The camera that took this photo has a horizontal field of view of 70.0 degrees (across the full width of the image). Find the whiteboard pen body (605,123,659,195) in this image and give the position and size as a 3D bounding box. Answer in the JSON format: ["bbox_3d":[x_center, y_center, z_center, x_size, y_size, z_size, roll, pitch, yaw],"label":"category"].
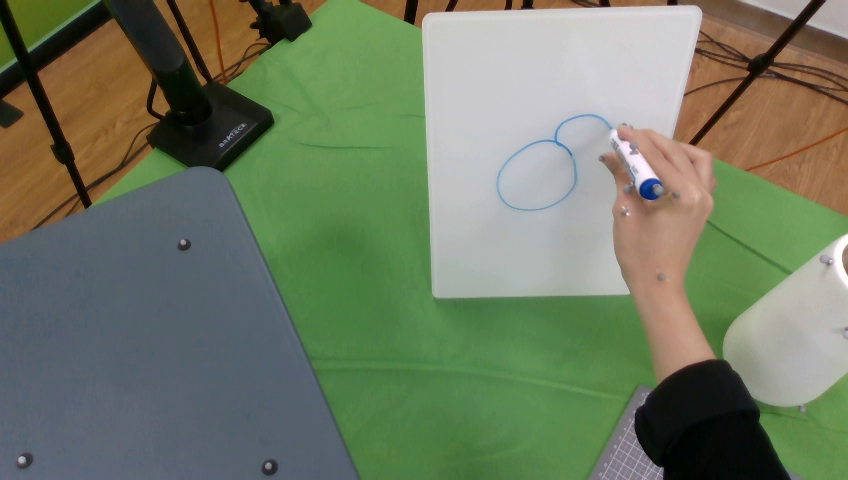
[{"bbox_3d":[0.155,-0.068,0.465,0.017,0.017,0.139,2,28,3],"label":"whiteboard pen body"}]

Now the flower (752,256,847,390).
[{"bbox_3d":[0.333,0.009,0.463,0.044,0.365,0.038,23,45,18],"label":"flower"}]

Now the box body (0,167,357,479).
[{"bbox_3d":[-0.219,0.150,0.512,0.254,0.162,0.360,-25,62,-13],"label":"box body"}]

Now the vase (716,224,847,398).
[{"bbox_3d":[0.333,0.065,0.527,0.098,0.202,0.097,-1,58,2],"label":"vase"}]

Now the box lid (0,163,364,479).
[{"bbox_3d":[-0.223,0.110,0.449,0.263,0.015,0.368,-25,62,-13],"label":"box lid"}]

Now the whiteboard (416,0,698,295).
[{"bbox_3d":[0.108,-0.105,0.608,0.217,0.308,0.142,-1,40,2],"label":"whiteboard"}]
